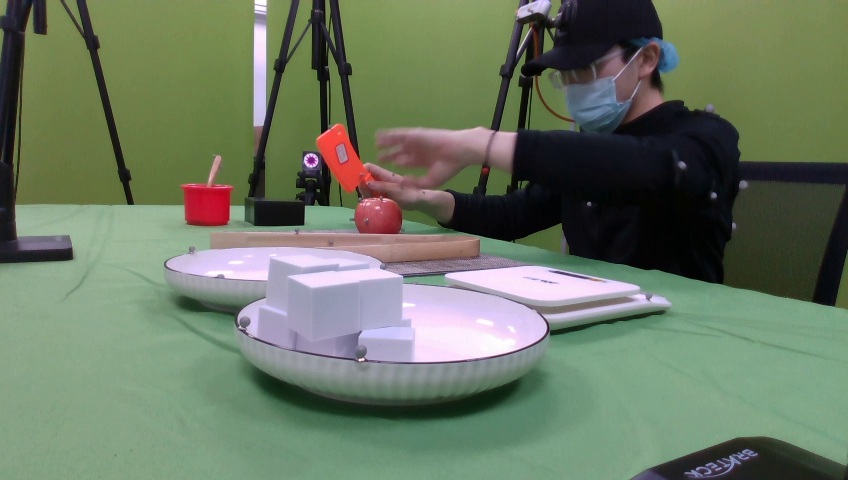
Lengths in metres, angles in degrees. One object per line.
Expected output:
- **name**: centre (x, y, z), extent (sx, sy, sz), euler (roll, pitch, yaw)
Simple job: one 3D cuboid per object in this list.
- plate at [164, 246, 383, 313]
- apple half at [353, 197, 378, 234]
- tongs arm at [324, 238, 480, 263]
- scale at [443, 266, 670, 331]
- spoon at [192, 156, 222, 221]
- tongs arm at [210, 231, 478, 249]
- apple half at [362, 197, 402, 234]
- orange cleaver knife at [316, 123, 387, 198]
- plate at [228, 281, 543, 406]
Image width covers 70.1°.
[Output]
- **plate**: centre (-0.145, 0.038, 0.600), extent (0.209, 0.038, 0.209), euler (2, 7, 0)
- **apple half**: centre (-0.101, -0.037, 1.023), extent (0.032, 0.081, 0.081), euler (8, 9, 17)
- **tongs arm**: centre (-0.070, 0.018, 0.801), extent (0.390, 0.028, 0.028), euler (-2, 5, -34)
- **scale**: centre (0.131, 0.052, 0.603), extent (0.202, 0.031, 0.148), euler (-2, 9, -37)
- **spoon**: centre (-0.430, -0.108, 1.222), extent (0.041, 0.021, 0.193), euler (-1, 52, 0)
- **tongs arm**: centre (-0.106, 0.005, 0.876), extent (0.386, 0.026, 0.050), euler (1, 7, -20)
- **apple half**: centre (-0.064, -0.033, 1.013), extent (0.053, 0.074, 0.081), euler (8, 6, 18)
- **orange cleaver knife**: centre (-0.133, -0.130, 1.137), extent (0.012, 0.077, 0.212), euler (13, -30, 38)
- **plate**: centre (-0.025, 0.067, 0.413), extent (0.208, 0.039, 0.207), euler (3, 7, 0)
